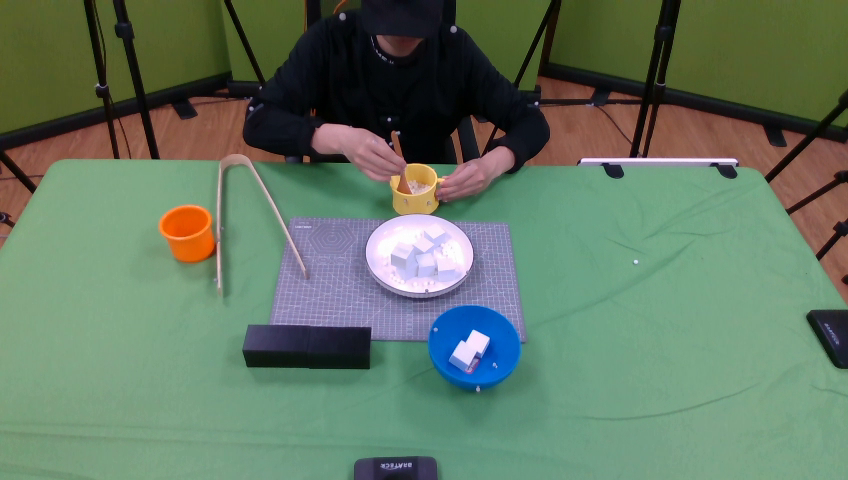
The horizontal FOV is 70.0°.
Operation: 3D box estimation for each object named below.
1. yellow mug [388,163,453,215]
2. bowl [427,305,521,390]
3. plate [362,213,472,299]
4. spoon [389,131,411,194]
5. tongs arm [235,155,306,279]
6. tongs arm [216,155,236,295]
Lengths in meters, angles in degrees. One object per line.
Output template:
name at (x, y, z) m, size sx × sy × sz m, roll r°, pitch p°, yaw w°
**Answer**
yellow mug at (-0.006, -0.105, 1.258) m, size 0.131 × 0.064 × 0.099 m, roll -4°, pitch 48°, yaw 1°
bowl at (0.076, 0.188, 0.985) m, size 0.151 × 0.077 × 0.150 m, roll 3°, pitch 46°, yaw -3°
plate at (-0.013, 0.034, 1.150) m, size 0.208 × 0.039 × 0.206 m, roll 2°, pitch 46°, yaw -2°
spoon at (-0.048, -0.141, 1.199) m, size 0.041 × 0.195 × 0.021 m, roll 19°, pitch 52°, yaw 24°
tongs arm at (-0.312, -0.058, 1.225) m, size 0.028 × 0.028 × 0.385 m, roll -22°, pitch 50°, yaw -19°
tongs arm at (-0.388, -0.043, 1.201) m, size 0.051 × 0.026 × 0.382 m, roll -9°, pitch 46°, yaw -13°
